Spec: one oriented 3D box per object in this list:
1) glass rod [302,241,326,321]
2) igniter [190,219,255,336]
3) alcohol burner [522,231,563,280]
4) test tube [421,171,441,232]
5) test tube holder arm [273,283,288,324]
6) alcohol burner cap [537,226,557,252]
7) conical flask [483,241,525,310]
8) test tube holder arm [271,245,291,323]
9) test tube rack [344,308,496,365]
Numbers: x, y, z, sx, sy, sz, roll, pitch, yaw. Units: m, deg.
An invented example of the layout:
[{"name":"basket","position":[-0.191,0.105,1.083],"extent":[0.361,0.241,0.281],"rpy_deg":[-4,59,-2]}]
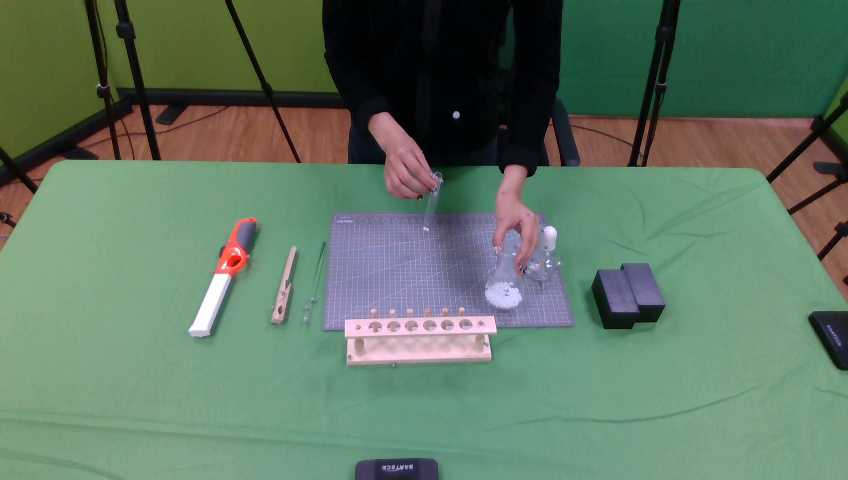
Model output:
[{"name":"glass rod","position":[-0.203,0.071,1.123],"extent":[0.008,0.008,0.198],"rpy_deg":[5,44,1]},{"name":"igniter","position":[-0.365,0.058,1.110],"extent":[0.057,0.025,0.275],"rpy_deg":[-1,45,8]},{"name":"alcohol burner","position":[0.224,0.020,1.131],"extent":[0.078,0.119,0.077],"rpy_deg":[4,46,-4]},{"name":"test tube","position":[0.012,-0.066,1.105],"extent":[0.017,0.151,0.017],"rpy_deg":[5,49,-6]},{"name":"test tube holder arm","position":[-0.254,0.111,1.077],"extent":[0.010,0.015,0.087],"rpy_deg":[30,37,-27]},{"name":"alcohol burner cap","position":[0.226,-0.004,1.104],"extent":[0.034,0.048,0.033],"rpy_deg":[0,50,1]},{"name":"conical flask","position":[0.142,0.058,1.054],"extent":[0.075,0.122,0.075],"rpy_deg":[-1,42,1]},{"name":"test tube holder arm","position":[-0.260,0.076,1.106],"extent":[0.013,0.015,0.177],"rpy_deg":[29,38,-29]},{"name":"test tube rack","position":[-0.009,0.154,1.006],"extent":[0.242,0.085,0.066],"rpy_deg":[-1,46,-5]}]
